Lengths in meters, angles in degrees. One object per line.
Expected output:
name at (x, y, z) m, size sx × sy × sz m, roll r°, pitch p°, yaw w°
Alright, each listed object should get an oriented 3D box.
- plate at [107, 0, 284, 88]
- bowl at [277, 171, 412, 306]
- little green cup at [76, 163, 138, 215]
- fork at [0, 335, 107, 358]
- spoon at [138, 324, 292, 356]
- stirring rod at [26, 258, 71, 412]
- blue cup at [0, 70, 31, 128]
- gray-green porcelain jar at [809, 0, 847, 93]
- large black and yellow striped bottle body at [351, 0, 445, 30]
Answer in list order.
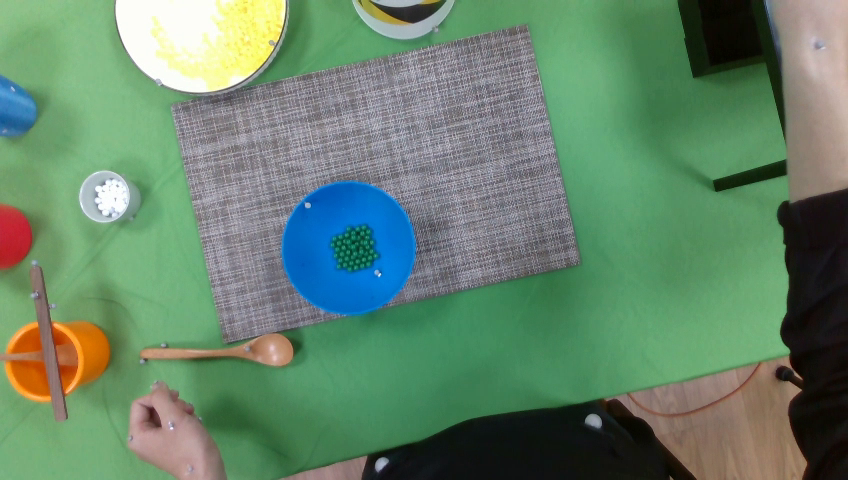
plate at (-0.270, -0.284, 0.729) m, size 0.209 × 0.038 × 0.209 m, roll 0°, pitch 91°, yaw 0°
bowl at (-0.087, -0.001, 0.707) m, size 0.151 × 0.077 × 0.151 m, roll 0°, pitch 91°, yaw 1°
little green cup at (-0.380, -0.060, 0.732) m, size 0.061 × 0.038 × 0.061 m, roll 0°, pitch 91°, yaw 1°
fork at (-0.472, 0.122, 0.680) m, size 0.209 × 0.018 × 0.028 m, roll 7°, pitch 93°, yaw -43°
spoon at (-0.257, 0.125, 0.741) m, size 0.194 × 0.021 × 0.042 m, roll -2°, pitch 104°, yaw 0°
stirring rod at (-0.420, 0.107, 0.677) m, size 0.014 × 0.006 × 0.176 m, roll -12°, pitch 91°, yaw 2°
blue cup at (-0.517, -0.168, 0.701) m, size 0.092 × 0.100 × 0.092 m, roll 0°, pitch 91°, yaw 2°
gray-green porcelain jar at (0.399, -0.182, 0.501) m, size 0.106 × 0.126 × 0.106 m, roll 0°, pitch 90°, yaw 2°
large black and yellow striped bottle body at (-0.033, -0.321, 0.654) m, size 0.131 × 0.184 × 0.130 m, roll 0°, pitch 90°, yaw 1°
